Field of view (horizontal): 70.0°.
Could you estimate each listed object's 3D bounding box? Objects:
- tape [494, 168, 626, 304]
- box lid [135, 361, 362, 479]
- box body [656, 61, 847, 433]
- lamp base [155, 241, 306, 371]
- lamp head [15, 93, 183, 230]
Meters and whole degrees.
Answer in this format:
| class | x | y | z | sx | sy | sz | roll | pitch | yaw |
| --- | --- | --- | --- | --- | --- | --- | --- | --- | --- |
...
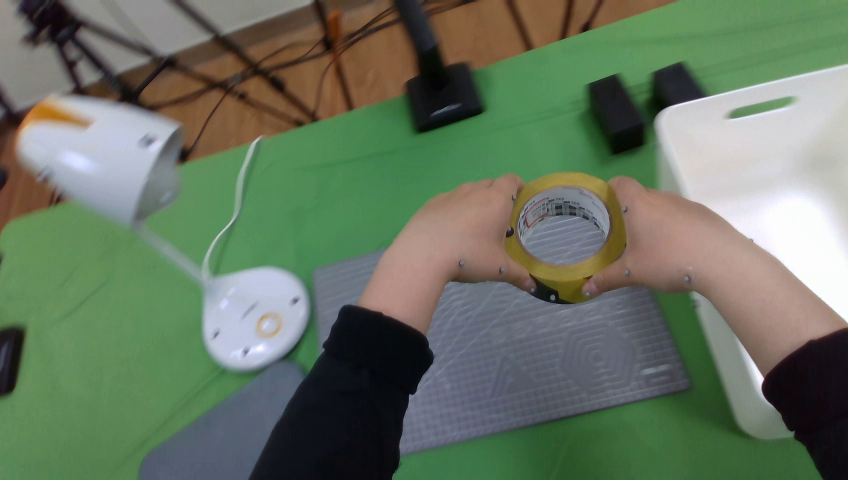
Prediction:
| class | x | y | z | sx | sy | sz | roll | pitch | yaw |
| --- | --- | --- | --- | --- | --- | --- | --- | --- | --- |
| tape | 0.121 | -0.005 | 0.545 | 0.116 | 0.053 | 0.116 | -6 | 60 | 11 |
| box lid | -0.196 | 0.351 | 0.741 | 0.263 | 0.015 | 0.367 | -36 | 58 | -5 |
| box body | 0.422 | 0.009 | 0.661 | 0.254 | 0.162 | 0.360 | -12 | 59 | 10 |
| lamp base | -0.277 | 0.072 | 0.821 | 0.178 | 0.182 | 0.160 | 20 | 68 | 28 |
| lamp head | -0.303 | -0.080 | 0.563 | 0.123 | 0.112 | 0.111 | 21 | 65 | -11 |
